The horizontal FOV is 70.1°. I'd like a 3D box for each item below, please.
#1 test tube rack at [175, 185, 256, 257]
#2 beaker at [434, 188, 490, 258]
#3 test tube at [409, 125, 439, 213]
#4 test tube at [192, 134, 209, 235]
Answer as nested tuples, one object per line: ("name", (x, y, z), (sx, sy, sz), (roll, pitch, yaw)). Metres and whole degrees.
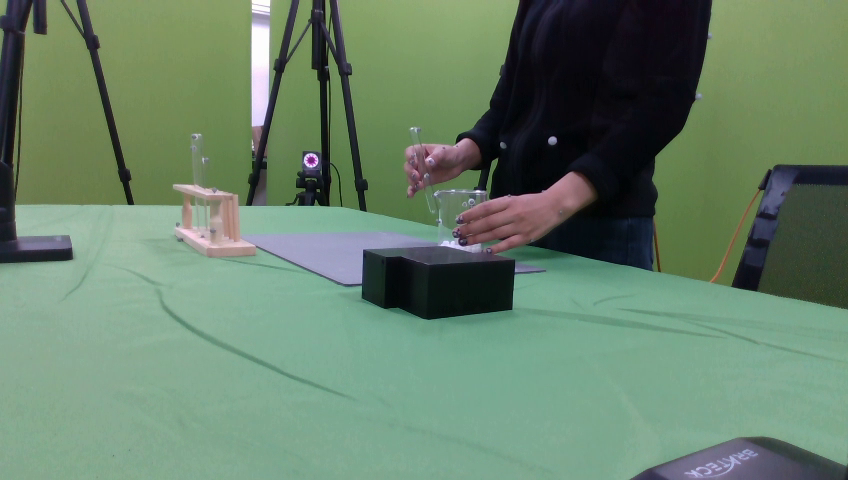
("test tube rack", (-0.324, -0.035, 0.922), (0.067, 0.085, 0.241), (-2, 9, -31))
("beaker", (0.055, -0.026, 0.897), (0.084, 0.100, 0.074), (0, 7, -9))
("test tube", (0.000, -0.118, 1.007), (0.017, 0.150, 0.017), (-15, 8, 2))
("test tube", (-0.332, -0.082, 0.898), (0.017, 0.150, 0.017), (-2, 6, 0))
